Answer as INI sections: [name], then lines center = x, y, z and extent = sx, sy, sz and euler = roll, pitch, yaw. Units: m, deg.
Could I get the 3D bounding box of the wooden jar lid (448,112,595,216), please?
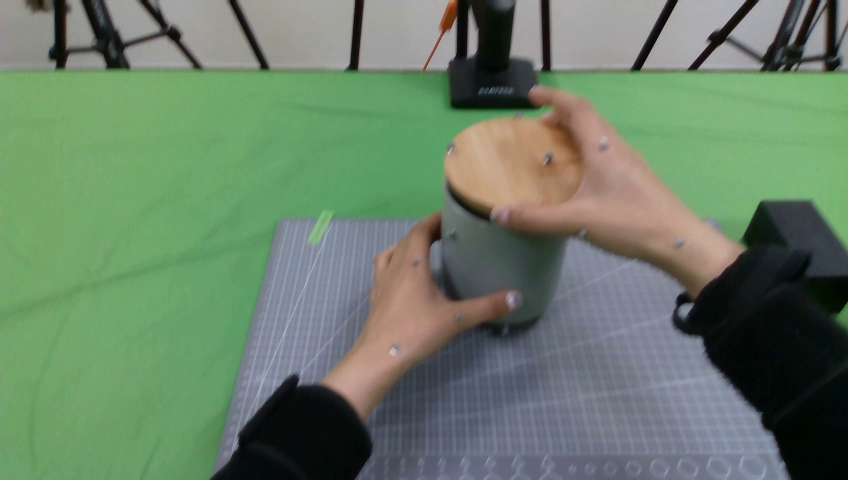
[wooden jar lid]
center = 0.071, -0.056, 0.452
extent = 0.108, 0.021, 0.107
euler = -1, 47, 1

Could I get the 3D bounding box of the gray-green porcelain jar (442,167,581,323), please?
[gray-green porcelain jar]
center = 0.068, -0.001, 0.507
extent = 0.106, 0.127, 0.105
euler = 1, 44, 0
